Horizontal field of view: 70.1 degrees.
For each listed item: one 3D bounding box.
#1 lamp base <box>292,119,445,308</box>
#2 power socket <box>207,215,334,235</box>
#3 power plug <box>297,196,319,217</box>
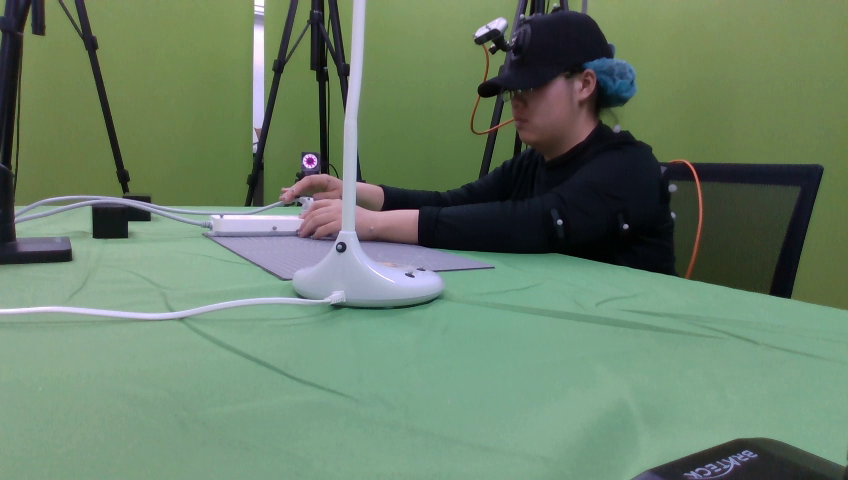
[{"bbox_3d":[-0.056,-0.030,0.616,0.160,0.180,0.179,3,10,8],"label":"lamp base"},{"bbox_3d":[-0.270,-0.028,1.082,0.228,0.032,0.072,-1,7,-30],"label":"power socket"},{"bbox_3d":[-0.219,-0.057,1.143,0.035,0.052,0.072,-1,8,-18],"label":"power plug"}]
